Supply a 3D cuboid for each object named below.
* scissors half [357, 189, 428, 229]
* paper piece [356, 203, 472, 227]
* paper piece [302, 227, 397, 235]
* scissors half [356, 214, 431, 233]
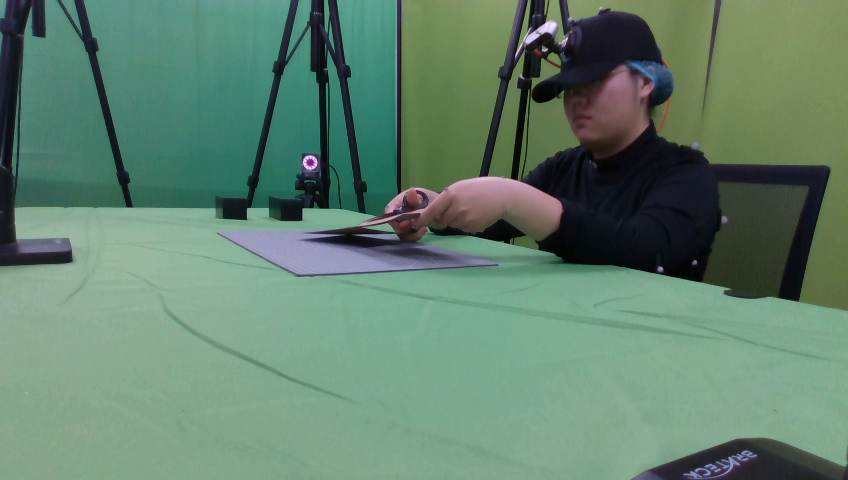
[{"bbox_3d":[-0.052,-0.050,1.022,0.013,0.040,0.176,-12,14,43],"label":"scissors half"},{"bbox_3d":[-0.018,-0.039,0.940,0.136,0.008,0.137,-19,9,-35],"label":"paper piece"},{"bbox_3d":[-0.126,-0.014,1.048,0.135,0.004,0.136,-4,-3,34],"label":"paper piece"},{"bbox_3d":[-0.048,-0.030,1.024,0.012,0.040,0.176,-5,-1,43],"label":"scissors half"}]
